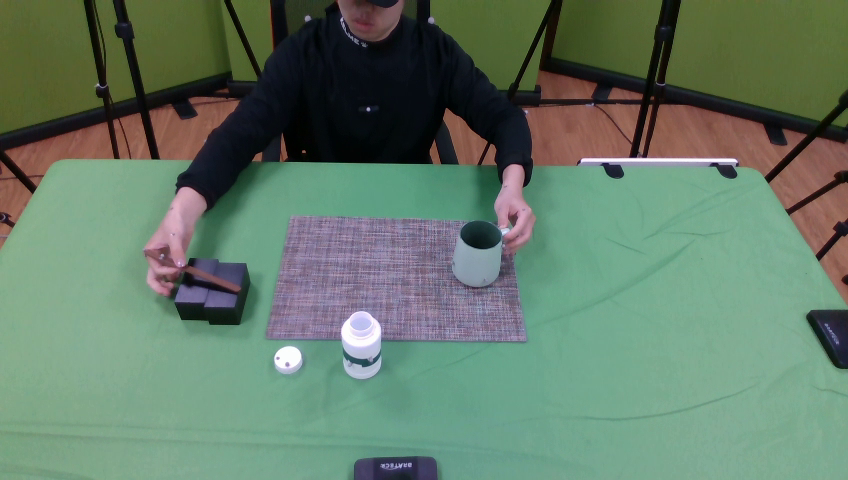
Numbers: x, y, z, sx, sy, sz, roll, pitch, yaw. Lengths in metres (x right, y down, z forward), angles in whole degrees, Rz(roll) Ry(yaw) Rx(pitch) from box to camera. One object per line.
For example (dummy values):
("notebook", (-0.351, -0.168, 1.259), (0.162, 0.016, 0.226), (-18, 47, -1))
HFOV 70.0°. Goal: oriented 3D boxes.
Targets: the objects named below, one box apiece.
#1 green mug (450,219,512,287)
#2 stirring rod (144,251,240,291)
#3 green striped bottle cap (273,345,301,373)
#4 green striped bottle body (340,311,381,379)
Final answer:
("green mug", (0.112, 0.019, 1.125), (0.125, 0.105, 0.092), (-24, 52, -25))
("stirring rod", (-0.396, 0.052, 1.033), (0.176, 0.006, 0.014), (21, 10, 2))
("green striped bottle cap", (-0.225, 0.195, 0.997), (0.044, 0.020, 0.044), (2, 50, -2))
("green striped bottle body", (-0.101, 0.165, 0.964), (0.063, 0.120, 0.063), (2, 46, -2))
